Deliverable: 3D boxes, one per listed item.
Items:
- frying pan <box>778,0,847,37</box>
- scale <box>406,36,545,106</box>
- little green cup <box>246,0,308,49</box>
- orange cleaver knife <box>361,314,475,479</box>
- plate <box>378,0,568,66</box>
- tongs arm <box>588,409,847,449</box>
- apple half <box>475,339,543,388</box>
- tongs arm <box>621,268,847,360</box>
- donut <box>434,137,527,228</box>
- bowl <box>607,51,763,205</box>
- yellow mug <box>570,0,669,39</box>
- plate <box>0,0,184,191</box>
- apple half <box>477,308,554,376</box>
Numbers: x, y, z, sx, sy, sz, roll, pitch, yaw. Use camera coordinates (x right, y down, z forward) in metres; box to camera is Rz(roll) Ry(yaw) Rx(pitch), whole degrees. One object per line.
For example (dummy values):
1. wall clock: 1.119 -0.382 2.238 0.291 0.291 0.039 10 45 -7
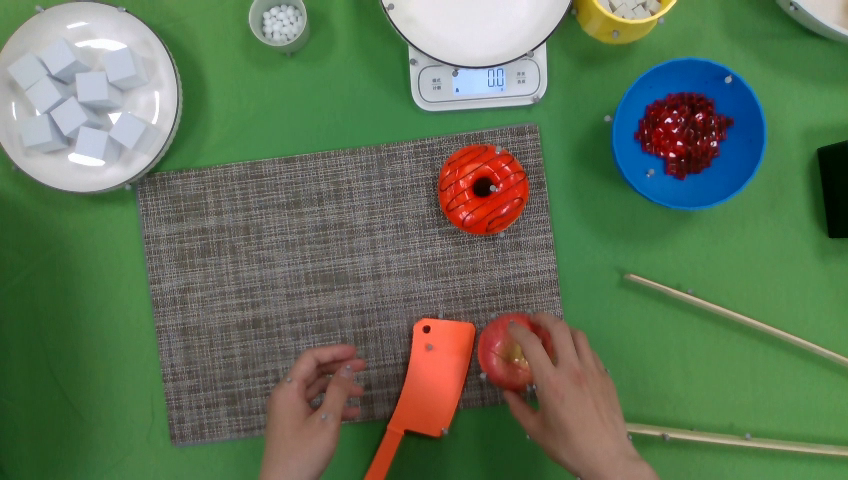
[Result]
1. frying pan: 0.527 -0.259 0.608 0.307 0.103 0.486 -34 82 2
2. scale: 0.053 -0.250 0.653 0.148 0.031 0.201 -3 91 1
3. little green cup: -0.155 -0.238 0.654 0.061 0.038 0.061 0 90 2
4. orange cleaver knife: -0.006 0.177 0.660 0.077 0.012 0.211 21 89 -5
5. plate: 0.049 -0.280 0.620 0.209 0.038 0.209 0 91 1
6. tongs arm: 0.372 0.193 0.650 0.385 0.026 0.050 8 88 1
7. apple half: 0.081 0.134 0.631 0.081 0.081 0.033 30 84 1
8. tongs arm: 0.393 0.109 0.650 0.387 0.028 0.028 23 84 1
9. donut: 0.059 -0.061 0.645 0.099 0.048 0.099 0 91 3
10. bowl: 0.257 -0.109 0.628 0.151 0.077 0.151 0 91 1
11. yellow mug: 0.198 -0.282 0.633 0.100 0.064 0.131 -40 89 2
12. plate: -0.361 -0.156 0.659 0.208 0.039 0.207 0 90 1
13. apple half: 0.101 0.099 0.632 0.080 0.075 0.053 28 87 4
